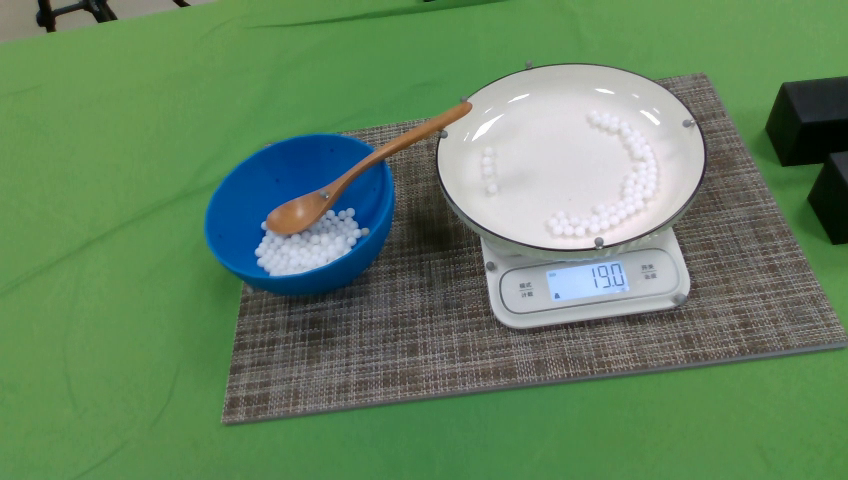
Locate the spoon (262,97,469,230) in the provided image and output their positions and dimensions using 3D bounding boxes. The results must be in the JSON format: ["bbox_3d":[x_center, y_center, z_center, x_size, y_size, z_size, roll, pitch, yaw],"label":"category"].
[{"bbox_3d":[-0.049,-0.061,0.484,0.194,0.022,0.041,-31,43,15],"label":"spoon"}]

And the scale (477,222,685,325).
[{"bbox_3d":[0.116,-0.029,0.502,0.148,0.032,0.199,-9,53,4],"label":"scale"}]

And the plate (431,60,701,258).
[{"bbox_3d":[0.110,-0.067,0.489,0.209,0.038,0.207,-4,53,6],"label":"plate"}]

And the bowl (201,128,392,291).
[{"bbox_3d":[-0.094,-0.012,0.498,0.151,0.077,0.150,-5,53,7],"label":"bowl"}]
